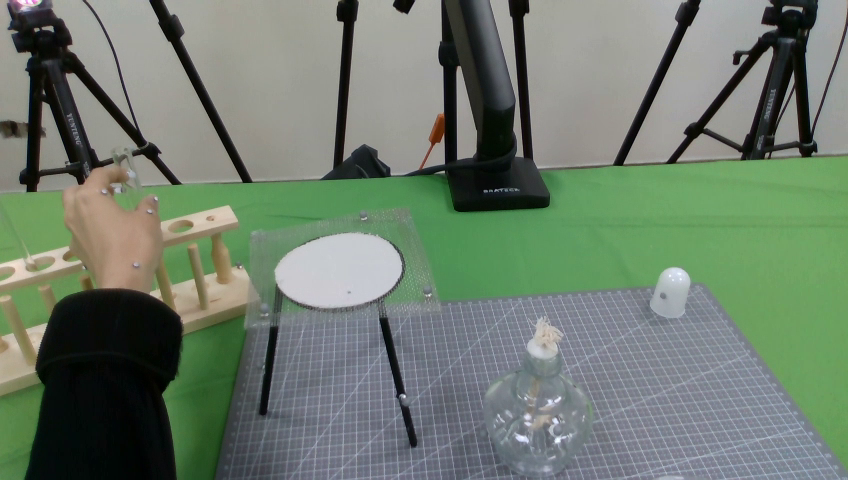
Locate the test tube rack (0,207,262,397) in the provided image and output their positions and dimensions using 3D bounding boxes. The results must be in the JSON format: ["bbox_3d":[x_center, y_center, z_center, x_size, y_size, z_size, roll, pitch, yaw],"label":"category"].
[{"bbox_3d":[-0.280,0.052,0.543,0.243,0.086,0.066,-18,38,-24],"label":"test tube rack"}]

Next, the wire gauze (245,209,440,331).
[{"bbox_3d":[-0.061,0.018,0.420,0.125,0.011,0.120,-8,35,-8],"label":"wire gauze"}]

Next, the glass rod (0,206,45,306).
[{"bbox_3d":[-0.330,0.006,0.491,0.008,0.201,0.008,0,38,0],"label":"glass rod"}]

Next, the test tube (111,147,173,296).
[{"bbox_3d":[-0.253,-0.012,0.547,0.017,0.151,0.017,-1,31,1],"label":"test tube"}]

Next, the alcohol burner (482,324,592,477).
[{"bbox_3d":[0.080,0.107,0.422,0.078,0.120,0.077,-1,32,1],"label":"alcohol burner"}]

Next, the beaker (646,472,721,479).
[{"bbox_3d":[0.109,0.164,0.262,0.084,0.101,0.073,-7,33,-10],"label":"beaker"}]

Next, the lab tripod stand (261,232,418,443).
[{"bbox_3d":[-0.060,0.073,0.458,0.148,0.132,0.147,-1,36,1],"label":"lab tripod stand"}]

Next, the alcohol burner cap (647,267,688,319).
[{"bbox_3d":[0.232,0.047,0.572,0.034,0.048,0.033,0,34,1],"label":"alcohol burner cap"}]
